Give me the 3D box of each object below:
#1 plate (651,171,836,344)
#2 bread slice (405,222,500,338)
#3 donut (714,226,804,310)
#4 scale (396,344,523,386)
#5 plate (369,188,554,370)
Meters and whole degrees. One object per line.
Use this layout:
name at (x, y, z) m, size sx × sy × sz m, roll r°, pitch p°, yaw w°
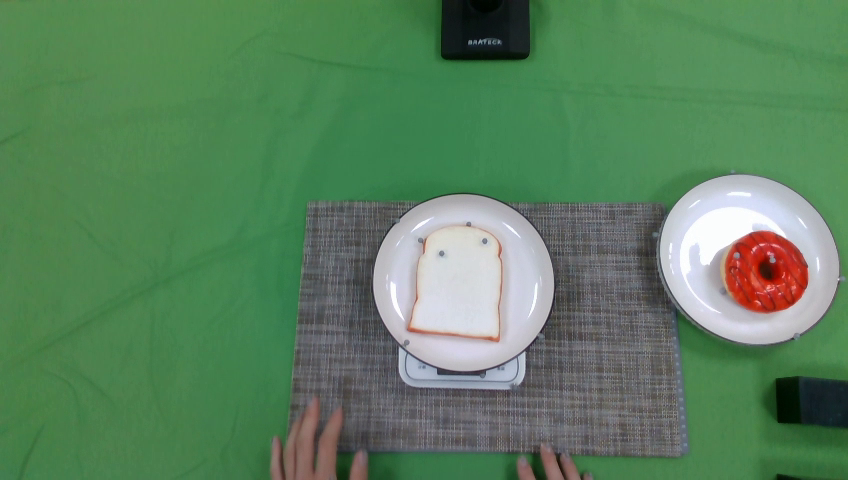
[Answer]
plate at (0.373, 0.021, 0.721) m, size 0.207 × 0.039 × 0.206 m, roll 0°, pitch 75°, yaw 2°
bread slice at (0.036, 0.042, 0.697) m, size 0.105 × 0.019 × 0.131 m, roll 5°, pitch 76°, yaw 2°
donut at (0.389, 0.033, 0.705) m, size 0.099 × 0.048 × 0.098 m, roll 0°, pitch 79°, yaw 1°
scale at (0.043, 0.070, 0.721) m, size 0.148 × 0.032 × 0.200 m, roll 1°, pitch 76°, yaw 3°
plate at (0.042, 0.044, 0.694) m, size 0.209 × 0.038 × 0.208 m, roll 0°, pitch 76°, yaw 2°
